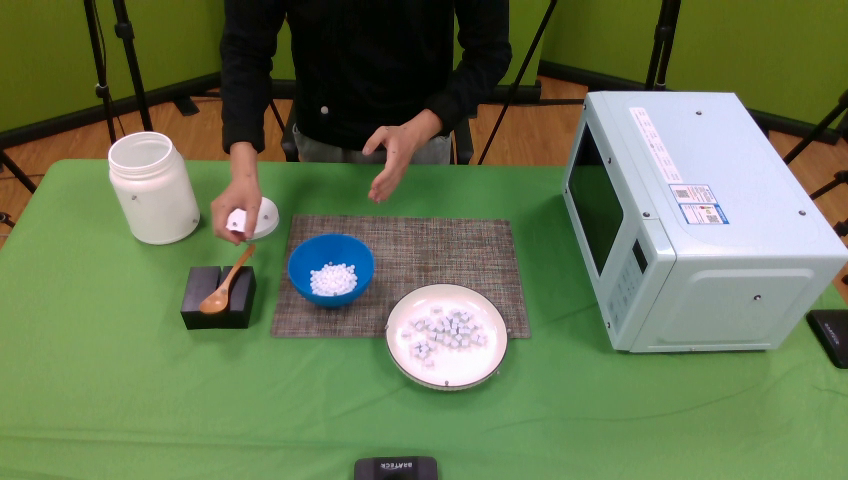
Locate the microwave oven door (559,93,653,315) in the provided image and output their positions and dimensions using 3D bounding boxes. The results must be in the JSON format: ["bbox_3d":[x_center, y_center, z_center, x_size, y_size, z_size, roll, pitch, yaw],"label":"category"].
[{"bbox_3d":[0.327,-0.074,1.123,0.039,0.245,0.353,-1,46,-5],"label":"microwave oven door"}]

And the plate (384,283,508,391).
[{"bbox_3d":[0.036,0.166,1.029,0.209,0.038,0.208,2,49,-2],"label":"plate"}]

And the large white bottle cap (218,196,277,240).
[{"bbox_3d":[-0.354,-0.045,1.220,0.115,0.018,0.114,2,45,-2],"label":"large white bottle cap"}]

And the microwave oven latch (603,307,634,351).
[{"bbox_3d":[0.332,0.153,1.044,0.030,0.029,0.078,0,45,-4],"label":"microwave oven latch"}]

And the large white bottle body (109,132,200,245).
[{"bbox_3d":[-0.506,-0.097,1.141,0.131,0.185,0.130,2,46,-2],"label":"large white bottle body"}]

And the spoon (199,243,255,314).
[{"bbox_3d":[-0.333,0.062,1.051,0.041,0.022,0.193,7,41,8],"label":"spoon"}]

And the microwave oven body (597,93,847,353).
[{"bbox_3d":[0.475,-0.041,1.109,0.326,0.261,0.438,-1,45,-4],"label":"microwave oven body"}]

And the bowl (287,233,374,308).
[{"bbox_3d":[-0.165,0.068,1.078,0.151,0.077,0.150,3,45,-2],"label":"bowl"}]
